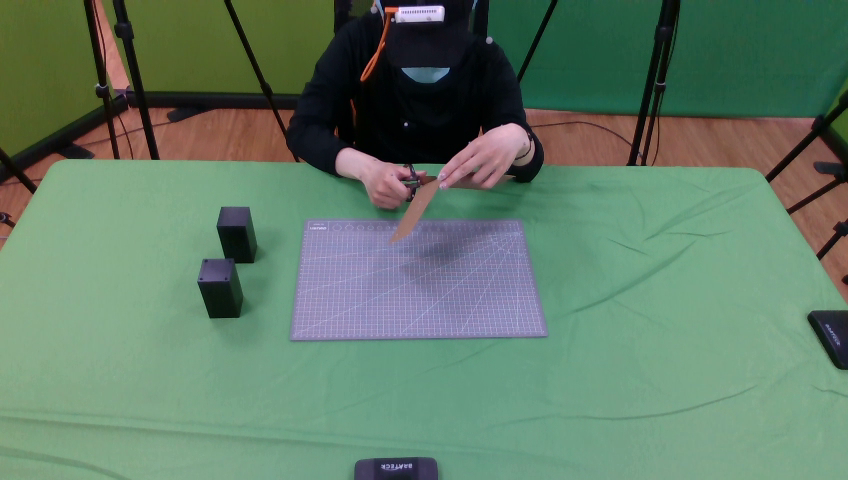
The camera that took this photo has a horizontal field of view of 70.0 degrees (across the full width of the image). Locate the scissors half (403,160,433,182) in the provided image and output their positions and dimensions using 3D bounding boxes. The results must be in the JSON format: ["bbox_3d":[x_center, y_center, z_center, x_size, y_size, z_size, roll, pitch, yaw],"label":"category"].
[{"bbox_3d":[-0.012,-0.129,1.171,0.013,0.040,0.174,-27,22,-11],"label":"scissors half"}]

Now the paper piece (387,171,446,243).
[{"bbox_3d":[-0.017,-0.059,1.092,0.004,0.135,0.135,34,73,-14],"label":"paper piece"}]

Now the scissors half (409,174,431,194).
[{"bbox_3d":[-0.004,-0.109,1.174,0.013,0.175,0.040,-21,90,-11],"label":"scissors half"}]

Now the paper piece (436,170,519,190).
[{"bbox_3d":[0.088,-0.112,1.138,0.138,0.136,0.008,-2,84,-18],"label":"paper piece"}]
